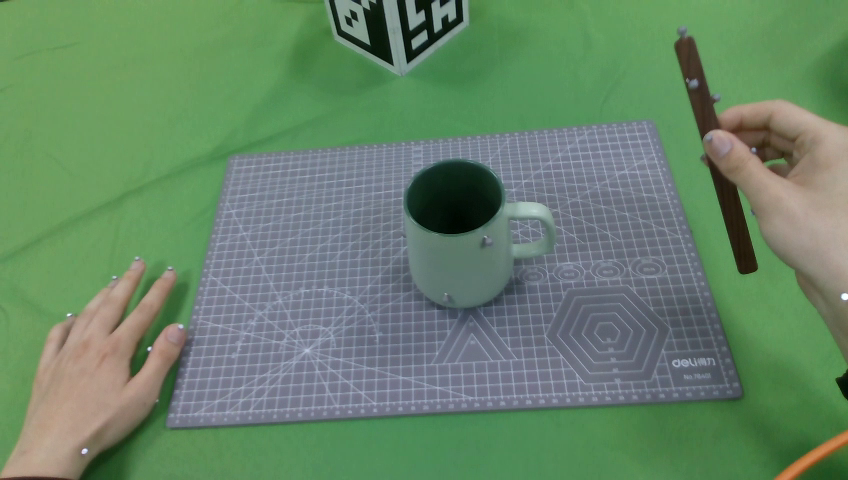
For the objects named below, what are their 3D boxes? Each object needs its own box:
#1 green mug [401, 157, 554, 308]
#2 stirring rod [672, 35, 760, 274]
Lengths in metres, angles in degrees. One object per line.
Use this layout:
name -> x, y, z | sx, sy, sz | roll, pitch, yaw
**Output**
green mug -> 0.043, -0.005, 0.499 | 0.125, 0.106, 0.091 | -3, 54, 5
stirring rod -> 0.205, -0.057, 0.424 | 0.014, 0.177, 0.006 | -18, 12, 19
